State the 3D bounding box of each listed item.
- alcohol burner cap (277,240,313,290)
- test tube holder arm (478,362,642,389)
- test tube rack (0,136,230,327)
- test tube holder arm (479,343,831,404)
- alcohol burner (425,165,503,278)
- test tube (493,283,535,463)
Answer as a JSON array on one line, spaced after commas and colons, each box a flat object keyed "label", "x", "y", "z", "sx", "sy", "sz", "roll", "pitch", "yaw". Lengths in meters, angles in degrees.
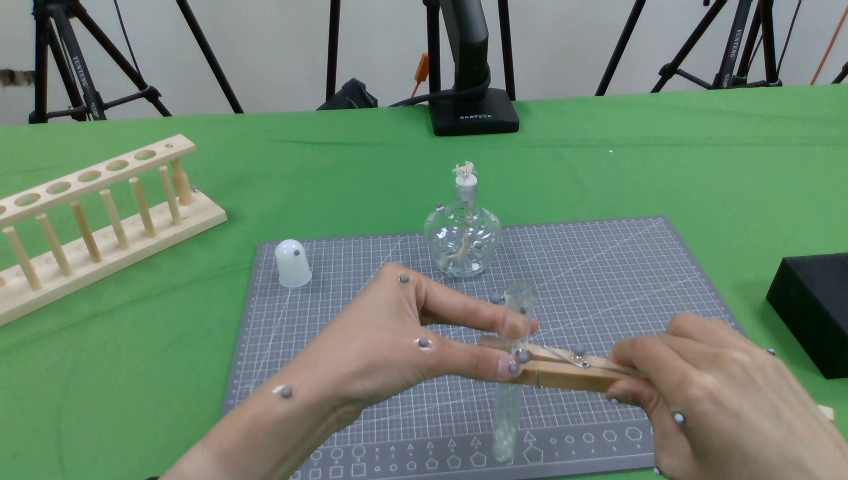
[{"label": "alcohol burner cap", "x": -0.128, "y": 0.021, "z": 0.592, "sx": 0.034, "sy": 0.048, "sz": 0.033, "roll": 0, "pitch": 39, "yaw": 0}, {"label": "test tube holder arm", "x": 0.074, "y": 0.075, "z": 0.334, "sx": 0.087, "sy": 0.015, "sz": 0.010, "roll": -3, "pitch": 50, "yaw": 9}, {"label": "test tube rack", "x": -0.330, "y": -0.016, "z": 0.613, "sx": 0.242, "sy": 0.086, "sz": 0.066, "roll": -31, "pitch": 47, "yaw": -32}, {"label": "test tube holder arm", "x": 0.118, "y": 0.071, "z": 0.328, "sx": 0.178, "sy": 0.015, "sz": 0.013, "roll": 3, "pitch": 51, "yaw": 13}, {"label": "alcohol burner", "x": 0.039, "y": -0.022, "z": 0.585, "sx": 0.078, "sy": 0.120, "sz": 0.077, "roll": 0, "pitch": 40, "yaw": 0}, {"label": "test tube", "x": 0.051, "y": 0.084, "z": 0.352, "sx": 0.017, "sy": 0.151, "sz": 0.017, "roll": -1, "pitch": 39, "yaw": 1}]
